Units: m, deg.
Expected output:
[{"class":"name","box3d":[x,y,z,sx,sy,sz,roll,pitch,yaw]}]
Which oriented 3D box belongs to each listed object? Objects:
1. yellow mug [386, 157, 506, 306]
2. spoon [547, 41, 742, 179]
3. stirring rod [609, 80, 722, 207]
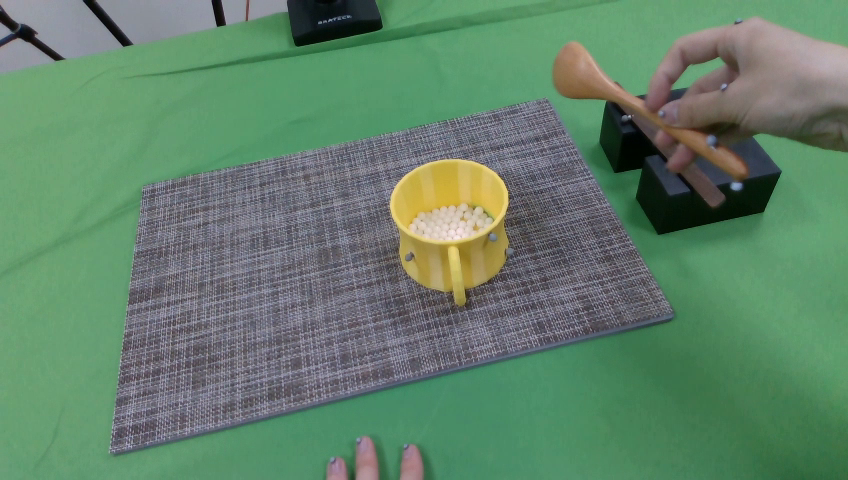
[{"class":"yellow mug","box3d":[0.023,-0.003,0.516,0.100,0.064,0.129,-7,50,2]},{"class":"spoon","box3d":[0.147,-0.096,0.430,0.022,0.042,0.191,-5,37,-36]},{"class":"stirring rod","box3d":[0.208,-0.091,0.541,0.014,0.006,0.174,-41,48,20]}]
